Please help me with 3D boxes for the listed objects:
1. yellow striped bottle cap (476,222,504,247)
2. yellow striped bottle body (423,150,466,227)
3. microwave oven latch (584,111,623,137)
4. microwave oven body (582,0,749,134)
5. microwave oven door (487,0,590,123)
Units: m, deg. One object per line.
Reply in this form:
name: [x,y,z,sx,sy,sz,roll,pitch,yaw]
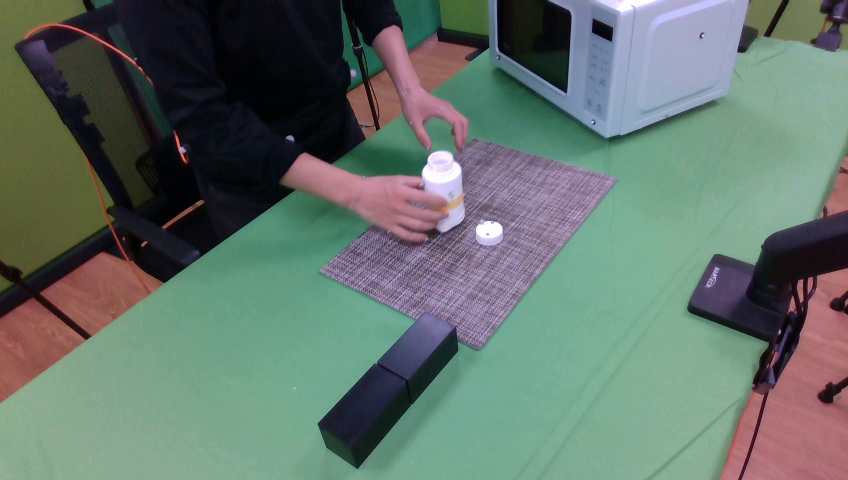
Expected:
yellow striped bottle cap: [0.105,-0.010,0.966,0.044,0.019,0.044,-4,39,3]
yellow striped bottle body: [0.033,-0.084,0.964,0.063,0.121,0.062,-4,43,4]
microwave oven latch: [0.337,-0.222,1.142,0.030,0.029,0.078,-21,42,-14]
microwave oven body: [0.382,-0.444,1.246,0.327,0.261,0.437,-22,42,-16]
microwave oven door: [0.231,-0.420,1.230,0.039,0.245,0.352,-22,43,-16]
